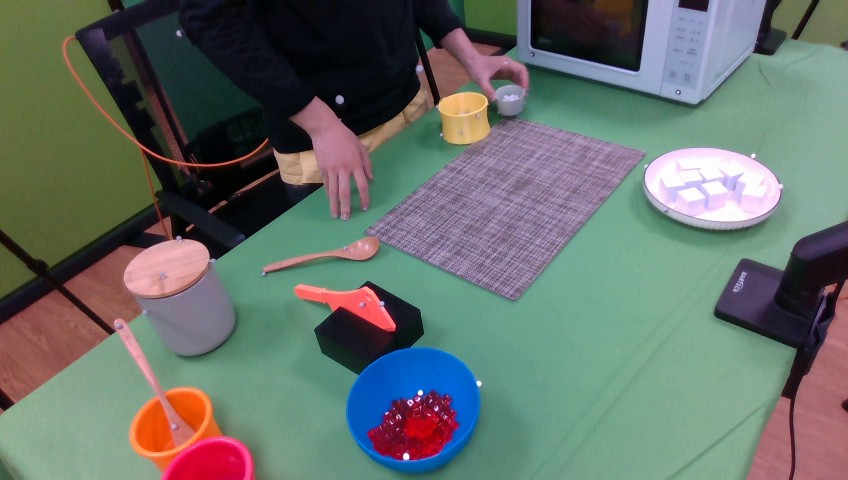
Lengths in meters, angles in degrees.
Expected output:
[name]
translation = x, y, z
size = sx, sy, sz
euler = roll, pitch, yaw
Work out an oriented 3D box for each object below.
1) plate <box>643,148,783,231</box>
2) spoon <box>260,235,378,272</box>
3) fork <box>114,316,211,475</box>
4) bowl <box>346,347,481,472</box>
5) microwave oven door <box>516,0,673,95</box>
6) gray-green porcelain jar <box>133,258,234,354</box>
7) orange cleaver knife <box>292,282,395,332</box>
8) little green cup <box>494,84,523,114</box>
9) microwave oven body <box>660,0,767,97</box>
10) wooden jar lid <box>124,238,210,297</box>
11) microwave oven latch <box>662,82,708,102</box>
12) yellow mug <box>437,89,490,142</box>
[plate]
translation = 0.464, -0.080, 0.986
size = 0.207, 0.039, 0.206
euler = -4, 41, 4
[spoon]
translation = -0.167, 0.024, 0.966
size = 0.194, 0.022, 0.041
euler = -10, 58, -3
[fork]
translation = -0.309, 0.180, 0.708
size = 0.028, 0.018, 0.207
euler = -29, 89, -24
[bowl]
translation = -0.008, 0.205, 0.691
size = 0.151, 0.077, 0.150
euler = -4, 40, 4
[microwave oven door]
translation = 0.344, -0.458, 1.256
size = 0.353, 0.245, 0.039
euler = 26, 51, 33
[gray-green porcelain jar]
translation = -0.328, 0.087, 0.836
size = 0.106, 0.127, 0.105
euler = -4, 41, 4
[orange cleaver knife]
translation = -0.116, 0.091, 0.835
size = 0.209, 0.077, 0.012
euler = 2, 32, 48
[little green cup]
translation = 0.175, -0.290, 1.244
size = 0.061, 0.039, 0.061
euler = -8, 41, 8
[microwave oven body]
translation = 0.473, -0.516, 1.314
size = 0.438, 0.261, 0.327
euler = 26, 51, 34
[wooden jar lid]
translation = -0.335, 0.039, 0.794
size = 0.108, 0.021, 0.108
euler = -2, 40, 3
[microwave oven latch]
translation = 0.517, -0.298, 1.202
size = 0.078, 0.029, 0.030
euler = 28, 52, 35
[yellow mug]
translation = 0.070, -0.257, 1.224
size = 0.100, 0.064, 0.129
euler = -33, 44, -25
